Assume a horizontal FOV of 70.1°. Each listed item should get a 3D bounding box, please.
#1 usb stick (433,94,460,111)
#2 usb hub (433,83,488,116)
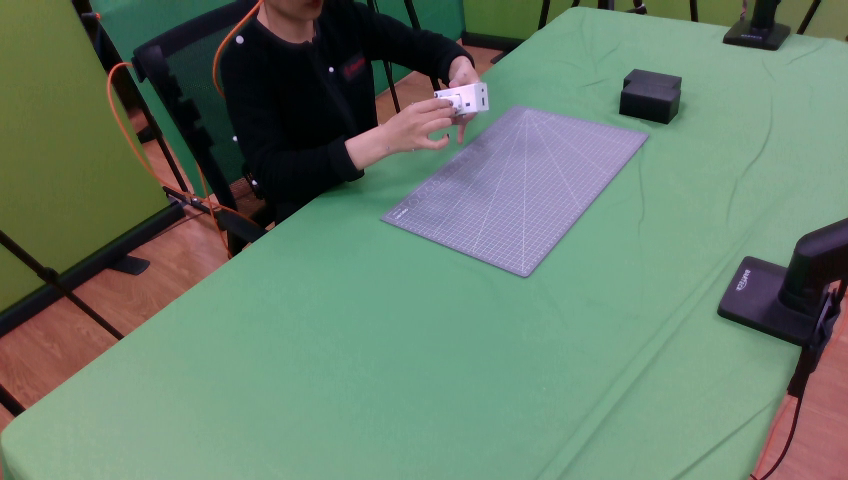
[{"bbox_3d":[0.043,-0.246,1.080,0.021,0.027,0.059,7,17,39],"label":"usb stick"},{"bbox_3d":[0.065,-0.254,1.098,0.025,0.049,0.124,-15,15,-36],"label":"usb hub"}]
